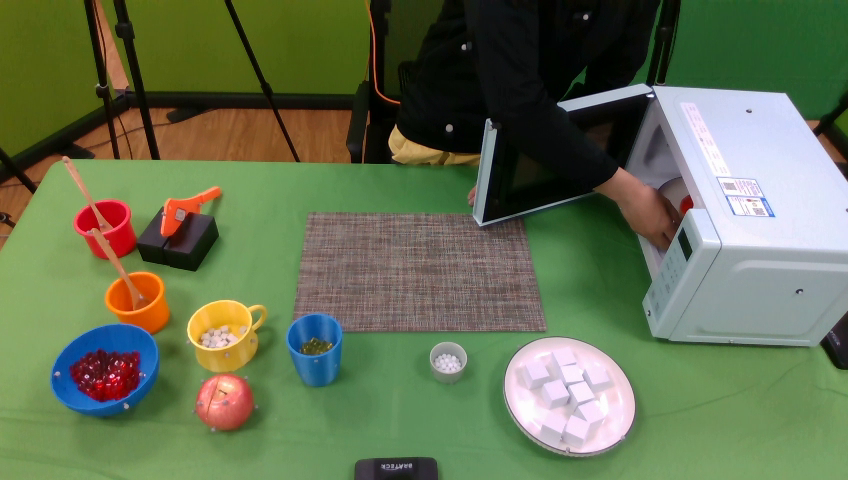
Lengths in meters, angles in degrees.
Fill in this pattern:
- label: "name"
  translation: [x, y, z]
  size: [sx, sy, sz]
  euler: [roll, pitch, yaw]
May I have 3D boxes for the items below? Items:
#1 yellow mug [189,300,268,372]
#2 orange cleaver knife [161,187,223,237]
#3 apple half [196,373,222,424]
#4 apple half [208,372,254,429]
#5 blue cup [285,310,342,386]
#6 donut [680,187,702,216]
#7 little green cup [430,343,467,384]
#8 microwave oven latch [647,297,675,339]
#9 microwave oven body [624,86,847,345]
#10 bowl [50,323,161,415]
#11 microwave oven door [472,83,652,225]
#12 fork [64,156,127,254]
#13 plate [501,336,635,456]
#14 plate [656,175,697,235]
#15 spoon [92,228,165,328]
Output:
- label: "yellow mug"
  translation: [-0.316, 0.149, 1.001]
  size: [0.131, 0.064, 0.099]
  euler: [-33, 55, -31]
- label: "orange cleaver knife"
  translation: [-0.448, -0.058, 1.181]
  size: [0.012, 0.077, 0.211]
  euler: [13, 17, 6]
- label: "apple half"
  translation: [-0.322, 0.240, 0.907]
  size: [0.033, 0.081, 0.081]
  euler: [7, 46, 0]
- label: "apple half"
  translation: [-0.282, 0.244, 0.908]
  size: [0.053, 0.075, 0.080]
  euler: [7, 43, -1]
- label: "blue cup"
  translation: [-0.170, 0.179, 0.958]
  size: [0.093, 0.101, 0.092]
  euler: [1, 44, -1]
- label: "donut"
  translation: [0.547, -0.063, 1.179]
  size: [0.099, 0.048, 0.098]
  euler: [5, 57, -7]
- label: "little green cup"
  translation: [0.039, 0.203, 0.993]
  size: [0.061, 0.039, 0.061]
  euler: [2, 47, -2]
- label: "microwave oven latch"
  translation: [0.413, 0.135, 1.061]
  size: [0.030, 0.029, 0.078]
  euler: [5, 45, 2]
- label: "microwave oven body"
  translation: [0.567, -0.053, 1.118]
  size: [0.326, 0.261, 0.439]
  euler: [2, 45, -1]
- label: "bowl"
  translation: [-0.472, 0.209, 0.924]
  size: [0.151, 0.077, 0.150]
  euler: [2, 45, -2]
- label: "microwave oven door"
  translation: [0.273, -0.171, 1.205]
  size: [0.356, 0.245, 0.039]
  euler: [-16, 50, -18]
- label: "fork"
  translation: [-0.614, -0.064, 1.130]
  size: [0.028, 0.018, 0.207]
  euler: [-29, 97, -16]
- label: "plate"
  translation: [0.225, 0.248, 0.963]
  size: [0.208, 0.039, 0.206]
  euler: [2, 46, -2]
- label: "plate"
  translation: [0.556, -0.045, 1.186]
  size: [0.209, 0.038, 0.208]
  euler: [4, 48, -4]
- label: "spoon"
  translation: [-0.496, 0.063, 1.015]
  size: [0.041, 0.194, 0.021]
  euler: [-34, 13, -32]
